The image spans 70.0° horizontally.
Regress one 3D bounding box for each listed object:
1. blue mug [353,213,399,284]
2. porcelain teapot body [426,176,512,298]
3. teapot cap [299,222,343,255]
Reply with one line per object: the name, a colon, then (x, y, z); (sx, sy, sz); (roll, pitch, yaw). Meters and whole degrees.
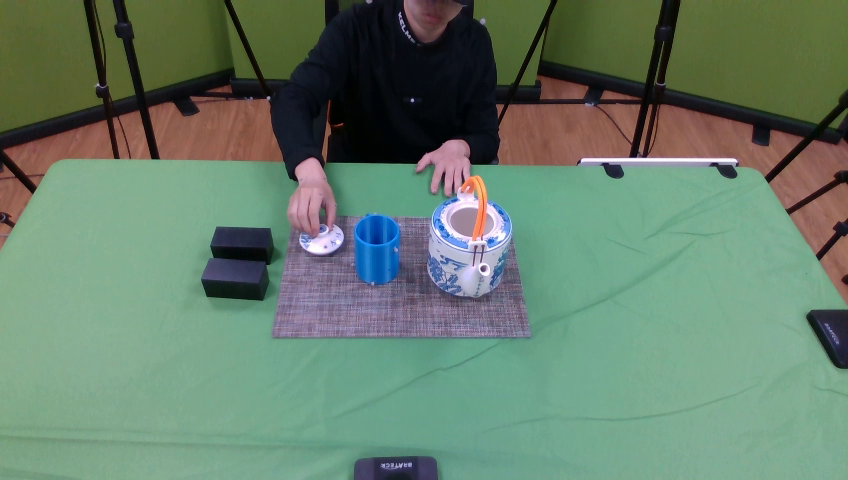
blue mug: (-0.093, 0.006, 1.123); (0.082, 0.106, 0.115); (-12, 48, -15)
porcelain teapot body: (0.085, 0.009, 1.051); (0.145, 0.226, 0.204); (-5, 47, -9)
teapot cap: (-0.200, -0.008, 1.171); (0.085, 0.044, 0.084); (1, 48, 0)
